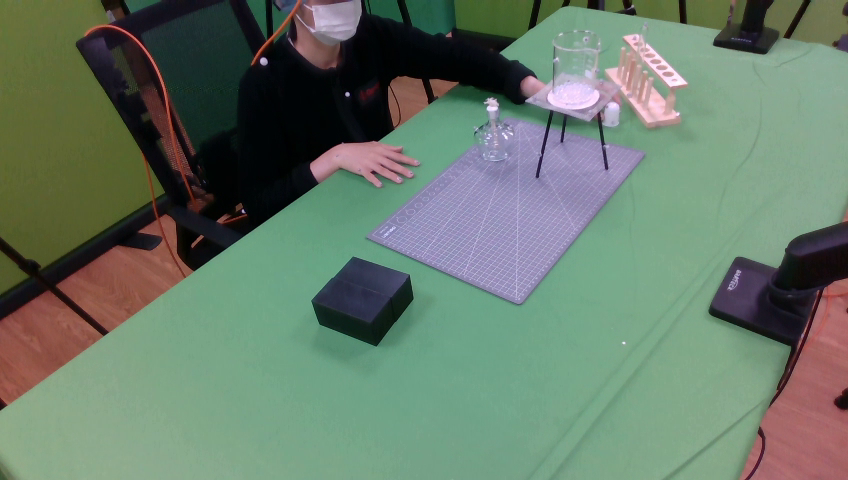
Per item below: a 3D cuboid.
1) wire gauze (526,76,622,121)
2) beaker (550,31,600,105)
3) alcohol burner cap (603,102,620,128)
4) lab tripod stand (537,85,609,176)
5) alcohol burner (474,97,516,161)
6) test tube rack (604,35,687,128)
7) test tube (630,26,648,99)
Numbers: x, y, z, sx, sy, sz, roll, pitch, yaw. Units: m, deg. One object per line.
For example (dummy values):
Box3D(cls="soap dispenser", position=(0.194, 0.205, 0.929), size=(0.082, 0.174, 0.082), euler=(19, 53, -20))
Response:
Box3D(cls="wire gauze", position=(0.255, -0.247, 1.030), size=(0.124, 0.011, 0.122), euler=(23, 49, 34))
Box3D(cls="beaker", position=(0.250, -0.281, 0.996), size=(0.074, 0.101, 0.083), euler=(-37, 49, -27))
Box3D(cls="alcohol burner cap", position=(0.371, -0.249, 1.193), size=(0.034, 0.048, 0.033), euler=(-5, 41, 5))
Box3D(cls="lab tripod stand", position=(0.259, -0.192, 1.068), size=(0.148, 0.132, 0.147), euler=(-4, 42, 4))
Box3D(cls="alcohol burner", position=(0.130, -0.208, 1.121), size=(0.078, 0.119, 0.077), euler=(-6, 40, 5))
Box3D(cls="test tube rack", position=(0.447, -0.330, 1.241), size=(0.067, 0.085, 0.241), euler=(-9, 41, -2))
Box3D(cls="test tube", position=(0.426, -0.350, 1.199), size=(0.017, 0.151, 0.017), euler=(-4, 42, 4))
